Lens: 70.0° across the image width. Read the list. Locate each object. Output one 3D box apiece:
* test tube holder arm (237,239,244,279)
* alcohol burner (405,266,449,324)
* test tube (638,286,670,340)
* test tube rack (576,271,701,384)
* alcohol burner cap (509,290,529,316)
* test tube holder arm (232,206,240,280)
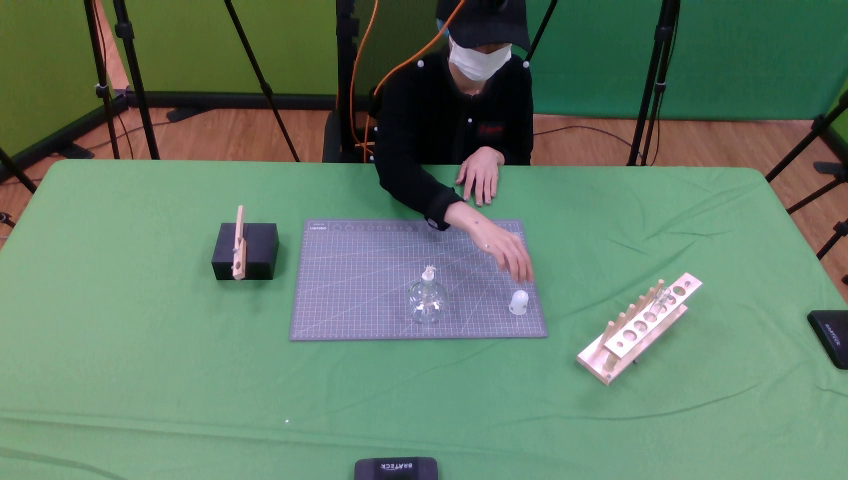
[{"bbox_3d":[-0.326,0.033,1.077,0.010,0.015,0.087,-8,47,-11],"label":"test tube holder arm"},{"bbox_3d":[0.005,0.089,1.043,0.078,0.120,0.077,1,45,-1],"label":"alcohol burner"},{"bbox_3d":[0.373,0.123,0.994,0.017,0.151,0.017,0,51,0],"label":"test tube"},{"bbox_3d":[0.373,0.138,1.047,0.242,0.085,0.066,-31,56,-29],"label":"test tube rack"},{"bbox_3d":[0.171,0.110,1.086,0.034,0.048,0.033,2,45,-2],"label":"alcohol burner cap"},{"bbox_3d":[-0.342,0.002,1.105,0.013,0.015,0.177,-9,47,-12],"label":"test tube holder arm"}]
